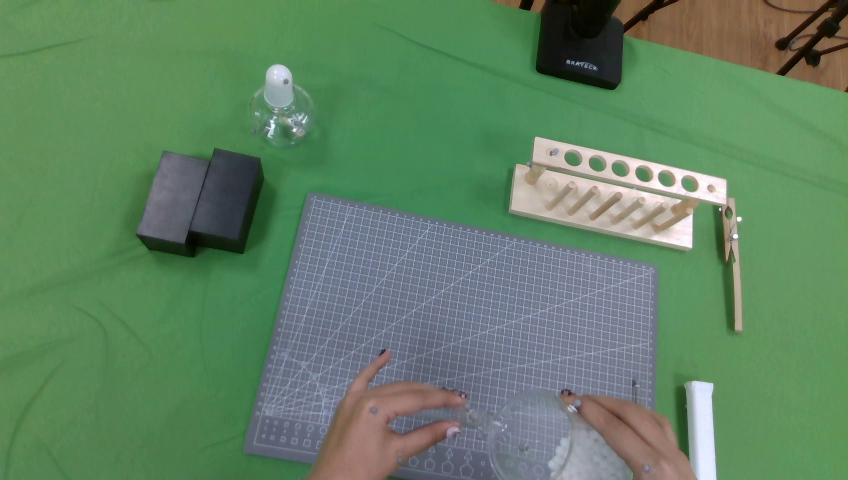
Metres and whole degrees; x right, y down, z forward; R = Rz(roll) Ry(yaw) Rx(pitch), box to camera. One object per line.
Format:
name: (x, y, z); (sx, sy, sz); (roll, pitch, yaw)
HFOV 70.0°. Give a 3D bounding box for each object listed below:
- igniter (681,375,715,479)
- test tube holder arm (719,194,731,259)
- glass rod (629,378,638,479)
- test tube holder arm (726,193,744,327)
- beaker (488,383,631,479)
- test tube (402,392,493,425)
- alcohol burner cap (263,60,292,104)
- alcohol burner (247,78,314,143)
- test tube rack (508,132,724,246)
igniter: (0.313, 0.293, 0.682); (0.057, 0.025, 0.275); (12, 70, -17)
test tube holder arm: (0.400, -0.018, 0.805); (0.010, 0.015, 0.087); (-6, 70, 26)
glass rod: (0.236, 0.256, 0.686); (0.008, 0.008, 0.198); (11, 70, -7)
test tube holder arm: (0.403, 0.024, 0.788); (0.013, 0.015, 0.177); (-7, 70, 26)
beaker: (0.107, 0.163, 0.474); (0.101, 0.083, 0.074); (35, 73, -35)
test tube: (0.016, 0.149, 0.543); (0.017, 0.150, 0.017); (5, 79, -26)
alcohol burner cap: (-0.159, -0.176, 0.663); (0.034, 0.048, 0.033); (7, 65, -15)
alcohol burner: (-0.166, -0.163, 0.696); (0.078, 0.119, 0.077); (3, 69, -8)
test tube rack: (0.235, -0.059, 0.751); (0.243, 0.085, 0.066); (12, 70, -6)
